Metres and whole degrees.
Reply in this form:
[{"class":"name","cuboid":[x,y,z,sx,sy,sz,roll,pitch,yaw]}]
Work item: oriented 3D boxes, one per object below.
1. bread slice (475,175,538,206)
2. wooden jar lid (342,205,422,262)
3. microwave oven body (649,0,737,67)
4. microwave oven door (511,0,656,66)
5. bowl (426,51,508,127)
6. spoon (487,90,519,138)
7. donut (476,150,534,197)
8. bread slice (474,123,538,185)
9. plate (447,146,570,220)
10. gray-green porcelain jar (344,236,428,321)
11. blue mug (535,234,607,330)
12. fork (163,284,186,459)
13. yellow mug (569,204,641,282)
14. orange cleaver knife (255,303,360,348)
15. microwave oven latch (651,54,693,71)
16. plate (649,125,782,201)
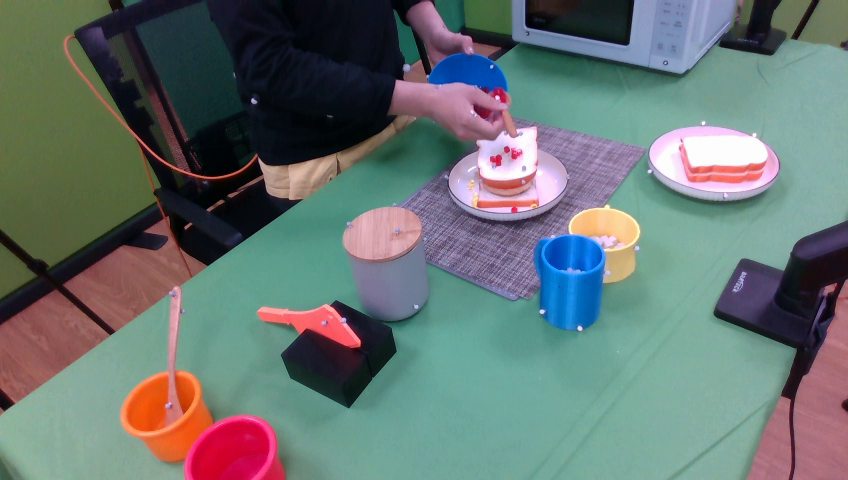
[{"class":"bread slice","cuboid":[0.143,-0.104,1.057,0.105,0.019,0.131,0,42,6]},{"class":"wooden jar lid","cuboid":[-0.055,-0.006,0.808,0.108,0.021,0.108,-6,40,6]},{"class":"microwave oven body","cuboid":[0.475,-0.602,1.411,0.438,0.261,0.327,23,50,32]},{"class":"microwave oven door","cuboid":[0.351,-0.539,1.349,0.353,0.245,0.039,24,50,31]},{"class":"bowl","cuboid":[0.078,-0.270,1.137,0.151,0.077,0.151,1,72,-1]},{"class":"spoon","cuboid":[0.125,-0.198,0.937,0.041,0.022,0.193,-6,28,3]},{"class":"donut","cuboid":[0.138,-0.116,1.025,0.099,0.048,0.098,-8,55,12]},{"class":"bread slice","cuboid":[0.141,-0.143,1.009,0.107,0.018,0.133,-8,47,8]},{"class":"plate","cuboid":[0.145,-0.098,1.046,0.209,0.038,0.208,-4,41,4]},{"class":"gray-green porcelain jar","cuboid":[-0.049,0.042,0.849,0.106,0.127,0.105,-4,41,4]},{"class":"blue mug","cuboid":[0.190,0.048,0.824,0.082,0.106,0.115,-26,44,-21]},{"class":"fork","cuboid":[-0.302,0.157,0.733,0.028,0.019,0.207,-3,84,15]},{"class":"yellow mug","cuboid":[0.268,-0.005,0.904,0.099,0.064,0.130,7,41,15]},{"class":"orange cleaver knife","cuboid":[-0.161,0.115,0.813,0.210,0.077,0.012,-4,32,47]},{"class":"microwave oven latch","cuboid":[0.532,-0.386,1.301,0.078,0.029,0.030,26,51,33]},{"class":"plate","cuboid":[0.493,-0.128,1.036,0.207,0.039,0.206,-4,41,4]}]
